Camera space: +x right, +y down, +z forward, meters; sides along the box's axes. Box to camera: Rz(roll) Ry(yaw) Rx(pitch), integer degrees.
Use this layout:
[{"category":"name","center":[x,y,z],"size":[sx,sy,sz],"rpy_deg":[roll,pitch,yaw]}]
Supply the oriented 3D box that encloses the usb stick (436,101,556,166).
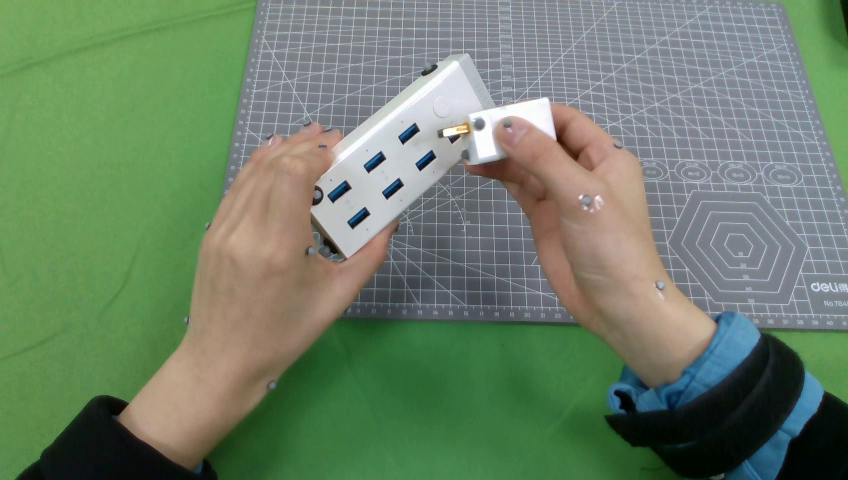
[{"category":"usb stick","center":[0.036,-0.053,0.312],"size":[0.059,0.021,0.027],"rpy_deg":[-12,99,-14]}]

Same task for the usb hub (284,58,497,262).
[{"category":"usb hub","center":[-0.013,-0.047,0.338],"size":[0.125,0.050,0.025],"rpy_deg":[-42,28,-15]}]
